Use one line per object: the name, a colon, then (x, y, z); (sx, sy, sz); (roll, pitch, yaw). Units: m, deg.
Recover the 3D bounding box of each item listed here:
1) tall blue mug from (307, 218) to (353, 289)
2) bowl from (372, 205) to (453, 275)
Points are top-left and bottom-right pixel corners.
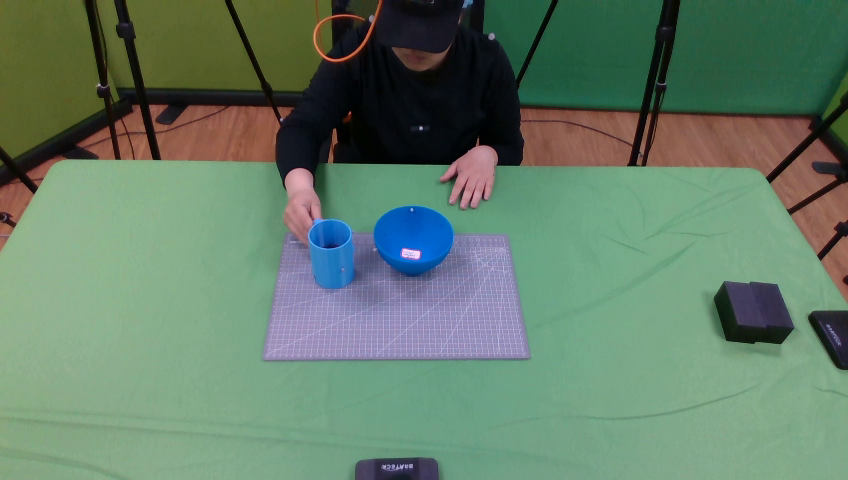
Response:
tall blue mug: (-0.181, 0.019, 1.102); (0.107, 0.108, 0.077); (27, 51, 21)
bowl: (-0.022, 0.013, 1.143); (0.151, 0.077, 0.150); (2, 46, -2)
